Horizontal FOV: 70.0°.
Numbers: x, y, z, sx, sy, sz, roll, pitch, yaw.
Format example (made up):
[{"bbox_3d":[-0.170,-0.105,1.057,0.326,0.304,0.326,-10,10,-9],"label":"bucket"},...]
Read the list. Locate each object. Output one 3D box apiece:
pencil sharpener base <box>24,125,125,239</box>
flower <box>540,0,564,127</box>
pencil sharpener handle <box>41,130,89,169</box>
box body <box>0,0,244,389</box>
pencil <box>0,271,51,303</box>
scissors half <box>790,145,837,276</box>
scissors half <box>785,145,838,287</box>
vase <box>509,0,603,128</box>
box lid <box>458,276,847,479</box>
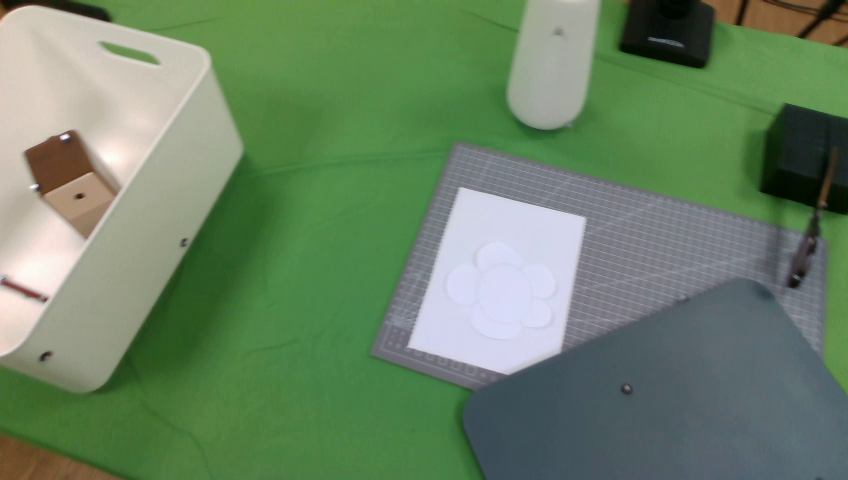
[{"bbox_3d":[-0.381,-0.064,0.677,0.061,0.108,0.076,-30,64,-13],"label":"pencil sharpener base"},{"bbox_3d":[0.150,-0.276,0.642,0.044,0.365,0.038,10,45,10],"label":"flower"},{"bbox_3d":[-0.407,-0.108,0.688,0.036,0.068,0.030,-32,64,-9],"label":"pencil sharpener handle"},{"bbox_3d":[-0.389,-0.051,0.647,0.253,0.161,0.362,17,64,10],"label":"box body"},{"bbox_3d":[-0.412,0.066,0.665,0.193,0.012,0.012,23,65,9],"label":"pencil"},{"bbox_3d":[0.426,-0.037,0.652,0.013,0.040,0.174,22,65,21],"label":"scissors half"},{"bbox_3d":[0.431,-0.029,0.670,0.012,0.040,0.175,20,82,26],"label":"scissors half"},{"bbox_3d":[0.154,-0.224,0.709,0.098,0.201,0.097,-1,61,2],"label":"vase"},{"bbox_3d":[0.245,0.201,0.588,0.372,0.015,0.261,-21,64,-10],"label":"box lid"}]
